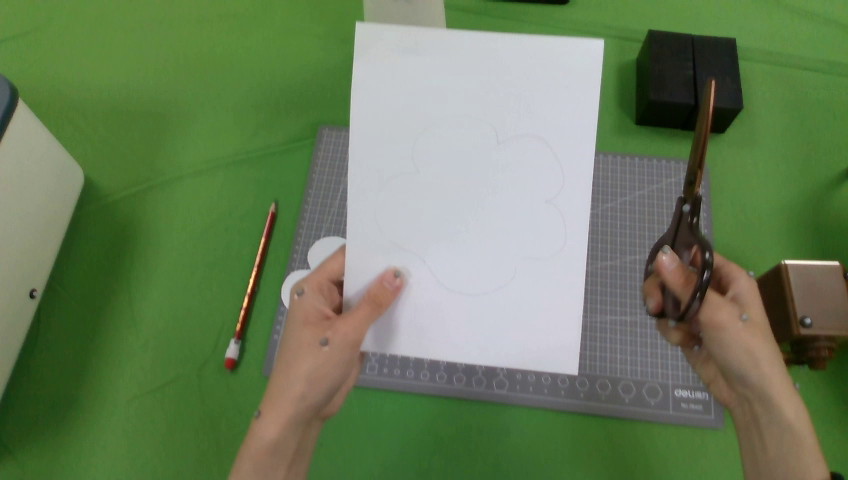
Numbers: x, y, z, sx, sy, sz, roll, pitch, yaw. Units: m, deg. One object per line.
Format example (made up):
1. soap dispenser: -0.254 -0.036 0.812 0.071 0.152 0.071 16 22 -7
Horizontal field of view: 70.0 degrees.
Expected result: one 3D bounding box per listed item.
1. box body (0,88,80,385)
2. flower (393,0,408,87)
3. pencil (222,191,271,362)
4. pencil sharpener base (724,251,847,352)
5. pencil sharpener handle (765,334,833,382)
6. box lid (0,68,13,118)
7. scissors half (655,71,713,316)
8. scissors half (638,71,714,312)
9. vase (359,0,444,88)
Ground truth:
1. box body: -0.518 0.024 0.558 0.254 0.161 0.361 6 68 3
2. flower: -0.034 -0.302 0.583 0.044 0.365 0.038 -1 49 4
3. pencil: -0.183 0.032 0.638 0.012 0.012 0.192 7 66 3
4. pencil sharpener base: 0.339 0.064 0.571 0.061 0.108 0.076 2 68 1
5. pencil sharpener handle: 0.334 0.106 0.540 0.036 0.068 0.030 7 67 -12
6. box lid: -0.519 -0.008 0.490 0.263 0.015 0.369 6 67 2
7. scissors half: 0.184 -0.034 0.413 0.013 0.040 0.174 13 80 -9
8. scissors half: 0.182 -0.034 0.433 0.013 0.040 0.175 13 97 -4
9. vase: -0.027 -0.256 0.654 0.098 0.201 0.097 0 66 1
